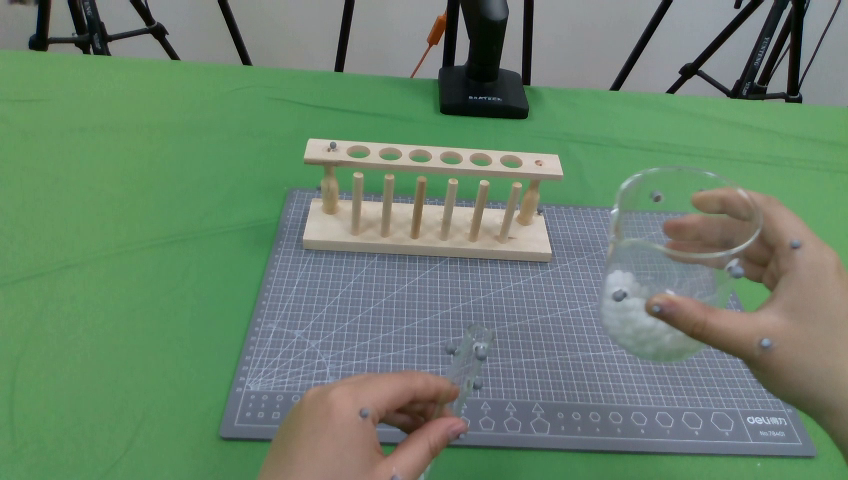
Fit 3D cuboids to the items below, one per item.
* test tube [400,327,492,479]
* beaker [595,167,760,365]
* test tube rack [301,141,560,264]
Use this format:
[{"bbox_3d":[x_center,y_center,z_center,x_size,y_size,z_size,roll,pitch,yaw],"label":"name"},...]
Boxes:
[{"bbox_3d":[0.008,0.111,0.356,0.017,0.151,0.017,15,30,-8],"label":"test tube"},{"bbox_3d":[0.140,0.020,0.358,0.084,0.101,0.073,-17,45,-12],"label":"beaker"},{"bbox_3d":[0.005,-0.035,0.589,0.242,0.086,0.066,3,41,-4],"label":"test tube rack"}]
